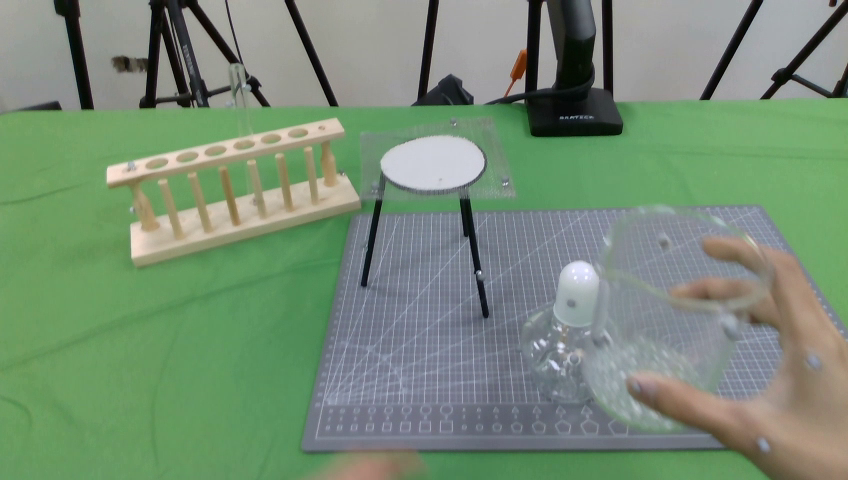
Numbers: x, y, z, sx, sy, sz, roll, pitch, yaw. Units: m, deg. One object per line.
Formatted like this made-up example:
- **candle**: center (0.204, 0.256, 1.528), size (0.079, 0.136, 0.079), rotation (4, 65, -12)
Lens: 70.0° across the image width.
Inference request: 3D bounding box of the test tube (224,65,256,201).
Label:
- **test tube**: center (-0.193, -0.109, 0.642), size (0.017, 0.151, 0.017), rotation (1, 33, -1)

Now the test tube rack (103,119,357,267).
- **test tube rack**: center (-0.202, -0.054, 0.655), size (0.243, 0.086, 0.066), rotation (-16, 40, -16)

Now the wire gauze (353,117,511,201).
- **wire gauze**: center (0.002, -0.068, 0.506), size (0.125, 0.011, 0.120), rotation (-5, 38, -1)

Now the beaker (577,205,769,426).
- **beaker**: center (0.121, 0.043, 0.320), size (0.084, 0.101, 0.073), rotation (-6, 39, -8)

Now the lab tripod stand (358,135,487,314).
- **lab tripod stand**: center (0.005, -0.016, 0.548), size (0.148, 0.133, 0.147), rotation (-2, 40, 2)

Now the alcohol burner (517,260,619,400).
- **alcohol burner**: center (0.110, 0.064, 0.457), size (0.078, 0.120, 0.077), rotation (-1, 37, 1)

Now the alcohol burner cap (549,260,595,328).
- **alcohol burner cap**: center (0.107, 0.036, 0.434), size (0.034, 0.048, 0.033), rotation (-3, 39, 3)
